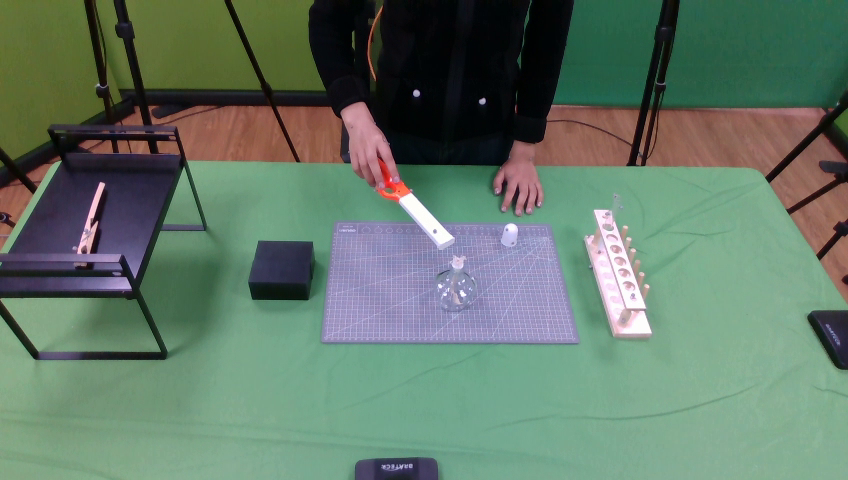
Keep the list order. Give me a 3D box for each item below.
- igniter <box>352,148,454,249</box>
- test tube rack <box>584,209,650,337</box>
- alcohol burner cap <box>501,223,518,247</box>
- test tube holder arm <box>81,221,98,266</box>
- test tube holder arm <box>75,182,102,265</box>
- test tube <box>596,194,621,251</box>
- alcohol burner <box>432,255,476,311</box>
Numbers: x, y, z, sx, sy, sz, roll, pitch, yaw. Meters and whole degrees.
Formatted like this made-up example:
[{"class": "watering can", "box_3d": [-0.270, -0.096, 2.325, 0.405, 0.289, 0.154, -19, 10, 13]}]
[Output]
[{"class": "igniter", "box_3d": [-0.043, -0.082, 1.095, 0.057, 0.025, 0.275, -29, 59, -24]}, {"class": "test tube rack", "box_3d": [0.365, 0.056, 1.129, 0.067, 0.085, 0.240, 1, 46, -4]}, {"class": "alcohol burner cap", "box_3d": [0.172, -0.013, 1.206, 0.034, 0.048, 0.033, 1, 46, -1]}, {"class": "test tube holder arm", "box_3d": [-0.503, 0.004, 0.910, 0.010, 0.015, 0.087, 26, 32, -36]}, {"class": "test tube holder arm", "box_3d": [-0.517, -0.030, 0.937, 0.013, 0.015, 0.177, 25, 33, -37]}, {"class": "test tube", "box_3d": [0.346, -0.029, 1.141, 0.017, 0.151, 0.017, 0, 50, 0]}, {"class": "alcohol burner", "box_3d": [0.055, 0.070, 1.068, 0.078, 0.119, 0.077, 3, 45, -3]}]
